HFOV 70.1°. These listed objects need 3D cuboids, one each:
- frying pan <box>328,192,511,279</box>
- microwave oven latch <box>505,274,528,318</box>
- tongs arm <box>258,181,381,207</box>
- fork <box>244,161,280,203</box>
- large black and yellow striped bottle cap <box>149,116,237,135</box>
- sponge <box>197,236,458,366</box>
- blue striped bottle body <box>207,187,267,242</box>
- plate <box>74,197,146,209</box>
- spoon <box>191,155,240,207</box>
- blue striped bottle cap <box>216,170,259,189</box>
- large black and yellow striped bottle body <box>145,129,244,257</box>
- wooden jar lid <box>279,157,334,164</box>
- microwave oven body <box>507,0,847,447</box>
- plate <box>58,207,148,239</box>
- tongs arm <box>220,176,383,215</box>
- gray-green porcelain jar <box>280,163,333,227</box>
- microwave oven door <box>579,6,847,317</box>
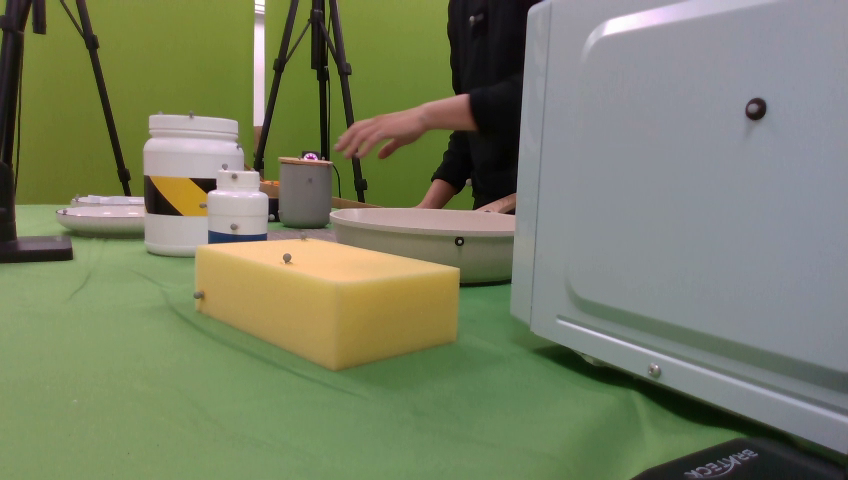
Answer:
[{"bbox_3d":[0.071,-0.030,0.883,0.305,0.102,0.490,7,17,27],"label":"frying pan"},{"bbox_3d":[0.100,0.041,0.471,0.079,0.029,0.030,-1,7,-28],"label":"microwave oven latch"},{"bbox_3d":[-0.241,-0.095,1.373,0.387,0.026,0.050,9,0,-37],"label":"tongs arm"},{"bbox_3d":[-0.398,-0.144,1.489,0.028,0.018,0.208,23,-23,47],"label":"fork"},{"bbox_3d":[-0.319,-0.158,0.841,0.115,0.019,0.115,3,7,0],"label":"large black and yellow striped bottle cap"},{"bbox_3d":[-0.087,0.039,0.500,0.206,0.061,0.119,8,9,44],"label":"sponge"},{"bbox_3d":[-0.204,-0.016,0.661,0.063,0.120,0.063,2,7,0],"label":"blue striped bottle body"},{"bbox_3d":[-0.596,-0.062,1.238,0.208,0.039,0.207,2,8,0],"label":"plate"},{"bbox_3d":[-0.489,-0.135,1.417,0.041,0.021,0.194,2,-35,20],"label":"spoon"},{"bbox_3d":[-0.201,-0.066,0.654,0.044,0.020,0.044,0,5,0],"label":"blue striped bottle cap"},{"bbox_3d":[-0.320,-0.075,0.851,0.131,0.184,0.130,2,8,0],"label":"large black and yellow striped bottle body"},{"bbox_3d":[-0.237,-0.154,1.213,0.108,0.020,0.108,6,9,-1],"label":"wooden jar lid"},{"bbox_3d":[0.331,-0.042,0.425,0.444,0.260,0.324,-2,8,-31],"label":"microwave oven body"},{"bbox_3d":[-0.496,-0.030,1.022,0.209,0.038,0.209,2,8,0],"label":"plate"},{"bbox_3d":[-0.285,-0.104,1.445,0.389,0.027,0.028,9,-4,-23],"label":"tongs arm"},{"bbox_3d":[-0.238,-0.092,1.221,0.106,0.126,0.106,2,7,0],"label":"gray-green porcelain jar"},{"bbox_3d":[0.294,-0.067,0.570,0.358,0.243,0.039,-3,9,-31],"label":"microwave oven door"}]
